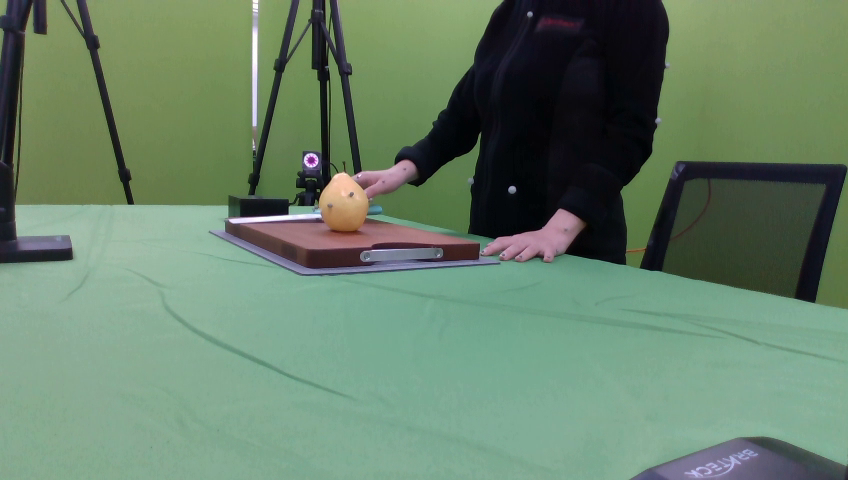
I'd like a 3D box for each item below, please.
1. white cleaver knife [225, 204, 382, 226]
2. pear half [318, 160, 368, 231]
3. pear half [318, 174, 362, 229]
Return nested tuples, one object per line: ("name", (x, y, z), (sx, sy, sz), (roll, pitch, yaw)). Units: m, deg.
("white cleaver knife", (-0.202, -0.039, 1.069), (0.288, 0.021, 0.065), (-8, 18, -32))
("pear half", (-0.120, -0.067, 0.927), (0.077, 0.110, 0.055), (-7, 11, -29))
("pear half", (-0.136, -0.062, 0.959), (0.071, 0.088, 0.031), (-7, 11, -29))
